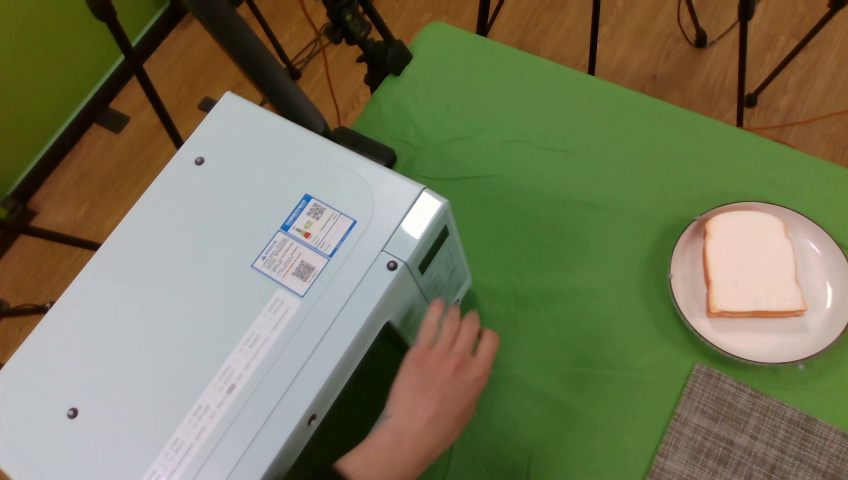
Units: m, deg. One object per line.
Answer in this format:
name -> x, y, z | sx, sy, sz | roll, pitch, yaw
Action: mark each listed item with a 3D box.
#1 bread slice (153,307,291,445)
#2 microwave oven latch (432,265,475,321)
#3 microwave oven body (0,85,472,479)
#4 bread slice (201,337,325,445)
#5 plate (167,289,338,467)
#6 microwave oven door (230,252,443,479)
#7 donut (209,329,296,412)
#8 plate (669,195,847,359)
bread slice -> -0.218, 0.141, 0.679 | 0.106, 0.018, 0.134 | 38, 71, 12
microwave oven latch -> 0.034, 0.063, 0.779 | 0.030, 0.030, 0.079 | 32, 77, 21
microwave oven body -> -0.199, 0.105, 0.698 | 0.324, 0.262, 0.440 | 28, 76, 20
bread slice -> -0.202, 0.188, 0.745 | 0.132, 0.019, 0.104 | -27, 64, -29
plate -> -0.201, 0.162, 0.727 | 0.209, 0.038, 0.207 | -2, 70, 7
microwave oven door -> -0.102, 0.201, 0.634 | 0.039, 0.246, 0.355 | 28, 75, 20
donut -> -0.198, 0.151, 0.704 | 0.099, 0.048, 0.098 | 1, 64, -2
plate -> 0.405, 0.045, 0.738 | 0.207, 0.039, 0.206 | -4, 67, 9
